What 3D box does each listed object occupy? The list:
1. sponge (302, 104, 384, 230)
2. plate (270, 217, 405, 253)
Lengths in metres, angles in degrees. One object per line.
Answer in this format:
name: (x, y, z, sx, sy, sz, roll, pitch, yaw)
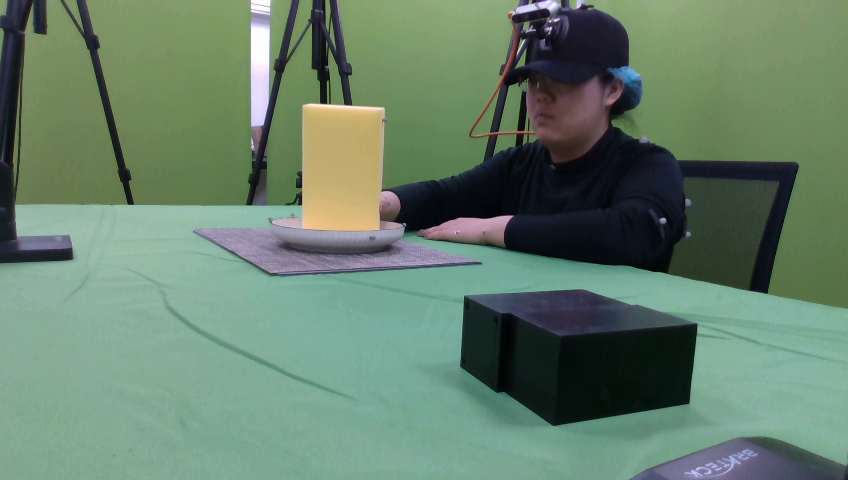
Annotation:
sponge: (-0.126, -0.104, 0.942, 0.118, 0.206, 0.061, 4, 16, -1)
plate: (-0.134, -0.009, 0.946, 0.208, 0.039, 0.207, 3, 7, 0)
